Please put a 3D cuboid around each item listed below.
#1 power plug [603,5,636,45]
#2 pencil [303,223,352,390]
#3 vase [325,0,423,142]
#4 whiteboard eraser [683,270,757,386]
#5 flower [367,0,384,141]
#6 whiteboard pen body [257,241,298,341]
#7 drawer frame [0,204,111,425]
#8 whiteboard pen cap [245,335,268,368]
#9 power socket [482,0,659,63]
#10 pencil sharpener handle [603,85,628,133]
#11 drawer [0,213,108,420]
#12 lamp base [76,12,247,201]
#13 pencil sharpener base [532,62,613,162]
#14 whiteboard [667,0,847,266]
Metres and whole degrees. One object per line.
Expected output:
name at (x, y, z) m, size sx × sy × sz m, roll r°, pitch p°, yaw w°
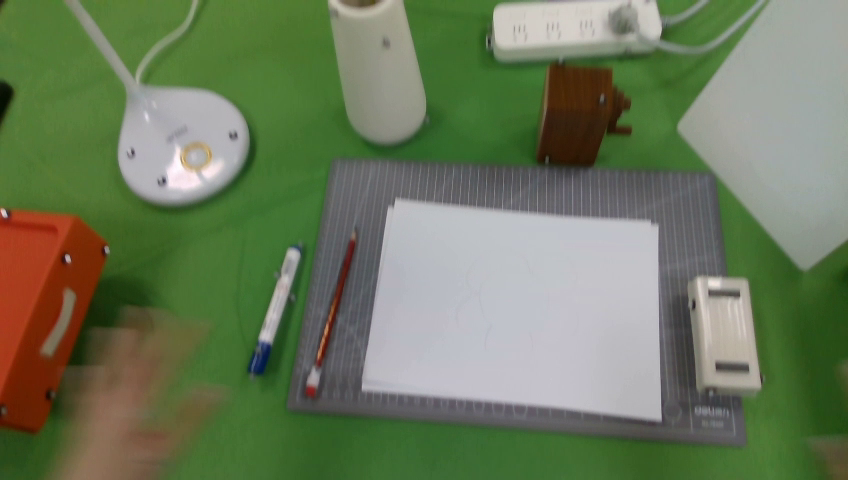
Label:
power plug at (0.239, -0.257, 0.749) m, size 0.035 × 0.053 × 0.072 m, roll 7°, pitch 67°, yaw 8°
pencil at (-0.101, 0.066, 0.657) m, size 0.012 × 0.012 × 0.192 m, roll 8°, pitch 64°, yaw 8°
vase at (-0.056, -0.198, 0.675) m, size 0.098 × 0.201 × 0.097 m, roll -2°, pitch 64°, yaw 5°
whiteboard eraser at (0.292, 0.087, 0.602) m, size 0.055 × 0.042 × 0.112 m, roll 4°, pitch 65°, yaw 4°
flower at (-0.054, -0.249, 0.608) m, size 0.038 × 0.365 × 0.043 m, roll -8°, pitch 46°, yaw -7°
whiteboard pen body at (-0.161, 0.063, 0.657) m, size 0.017 × 0.017 × 0.139 m, roll 7°, pitch 62°, yaw 8°
drawer frame at (-0.459, 0.064, 0.598) m, size 0.213 × 0.083 × 0.200 m, roll 6°, pitch 66°, yaw 4°
whiteboard pen cap at (-0.173, 0.114, 0.629) m, size 0.018 × 0.018 × 0.033 m, roll 7°, pitch 60°, yaw 8°
power socket at (0.189, -0.270, 0.784) m, size 0.227 × 0.033 × 0.071 m, roll -2°, pitch 65°, yaw 2°
pencil sharpener handle at (0.216, -0.141, 0.668) m, size 0.030 × 0.068 × 0.035 m, roll 5°, pitch 64°, yaw 6°
drawer at (-0.453, 0.062, 0.596) m, size 0.211 × 0.074 × 0.193 m, roll 6°, pitch 66°, yaw 6°
lamp base at (-0.313, -0.159, 0.684) m, size 0.178 × 0.182 × 0.160 m, roll 34°, pitch 71°, yaw 21°
pencil sharpener base at (0.166, -0.141, 0.684) m, size 0.076 × 0.108 × 0.061 m, roll 5°, pitch 65°, yaw 6°
whiteboard at (0.438, -0.158, 0.598) m, size 0.144 × 0.307 × 0.215 m, roll -18°, pitch 63°, yaw -26°
